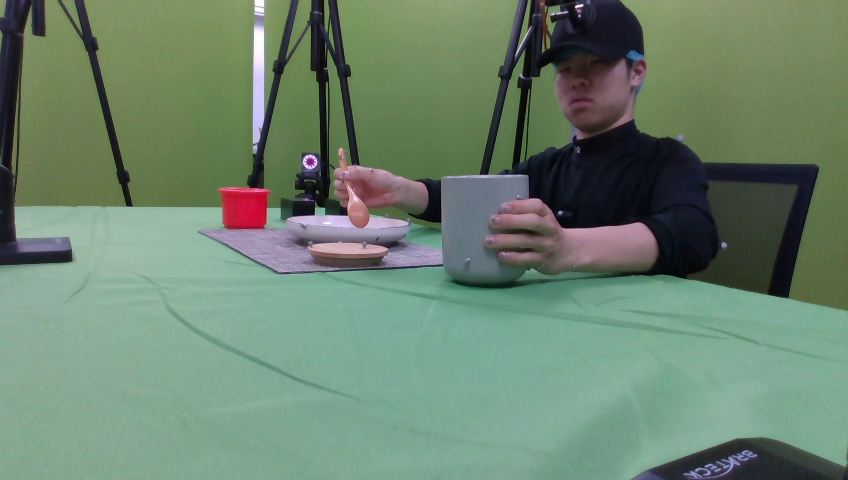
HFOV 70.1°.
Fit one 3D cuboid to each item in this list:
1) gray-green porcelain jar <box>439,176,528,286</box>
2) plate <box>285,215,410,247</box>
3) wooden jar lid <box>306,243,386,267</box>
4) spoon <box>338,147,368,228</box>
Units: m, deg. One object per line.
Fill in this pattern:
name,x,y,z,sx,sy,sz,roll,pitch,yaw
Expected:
gray-green porcelain jar,0.072,-0.013,0.727,0.106,0.126,0.106,-2,7,1
plate,-0.127,-0.015,1.012,0.208,0.039,0.207,3,7,0
wooden jar lid,-0.105,0.020,0.816,0.108,0.020,0.108,1,7,0
spoon,-0.132,-0.097,1.057,0.042,0.021,0.193,8,42,-31
